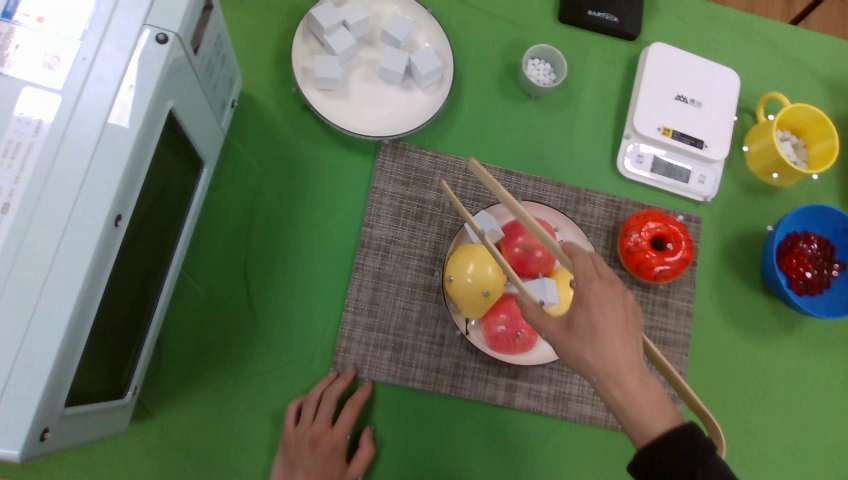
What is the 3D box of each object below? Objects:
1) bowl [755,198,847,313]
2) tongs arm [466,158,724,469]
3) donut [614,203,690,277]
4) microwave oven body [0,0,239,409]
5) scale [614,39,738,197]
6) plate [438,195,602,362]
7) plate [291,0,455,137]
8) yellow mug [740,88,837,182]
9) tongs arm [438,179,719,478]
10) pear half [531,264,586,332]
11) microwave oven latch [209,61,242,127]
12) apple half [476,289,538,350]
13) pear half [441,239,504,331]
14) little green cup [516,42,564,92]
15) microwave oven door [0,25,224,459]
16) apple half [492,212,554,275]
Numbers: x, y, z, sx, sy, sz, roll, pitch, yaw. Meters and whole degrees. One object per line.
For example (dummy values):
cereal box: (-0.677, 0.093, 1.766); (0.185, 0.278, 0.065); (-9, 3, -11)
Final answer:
bowl: (0.502, 0.026, 0.810); (0.152, 0.077, 0.151); (2, 80, -9)
tongs arm: (0.165, 0.063, 0.615); (0.028, 0.028, 0.385); (-35, 78, -19)
donut: (0.297, 0.000, 0.793); (0.099, 0.048, 0.098); (1, 79, -6)
microwave oven body: (-0.412, -0.067, 0.578); (0.327, 0.260, 0.440); (15, 78, -7)
scale: (0.352, -0.170, 0.844); (0.149, 0.031, 0.200); (17, 78, -5)
plate: (0.118, 0.048, 0.758); (0.210, 0.038, 0.208); (2, 80, -9)
plate: (-0.064, -0.228, 0.783); (0.208, 0.039, 0.206); (2, 79, -9)
yellow mug: (0.502, -0.152, 0.848); (0.100, 0.064, 0.130); (-20, 82, -11)
tongs arm: (0.144, 0.078, 0.608); (0.051, 0.026, 0.383); (-33, 77, -15)
pear half: (0.169, 0.071, 0.756); (0.070, 0.031, 0.087); (13, 76, 7)
microwave oven latch: (-0.242, -0.178, 0.725); (0.030, 0.029, 0.079); (18, 78, -6)
apple half: (0.104, 0.096, 0.738); (0.081, 0.033, 0.081); (3, 73, -9)
pear half: (0.060, 0.055, 0.726); (0.077, 0.056, 0.109); (7, 83, -17)
little green cup: (0.154, -0.232, 0.820); (0.062, 0.038, 0.061); (2, 79, -9)
microwave oven door: (-0.281, 0.010, 0.580); (0.039, 0.244, 0.354); (15, 77, -6)
apple half: (0.126, 0.002, 0.750); (0.075, 0.053, 0.080); (0, 83, -6)
